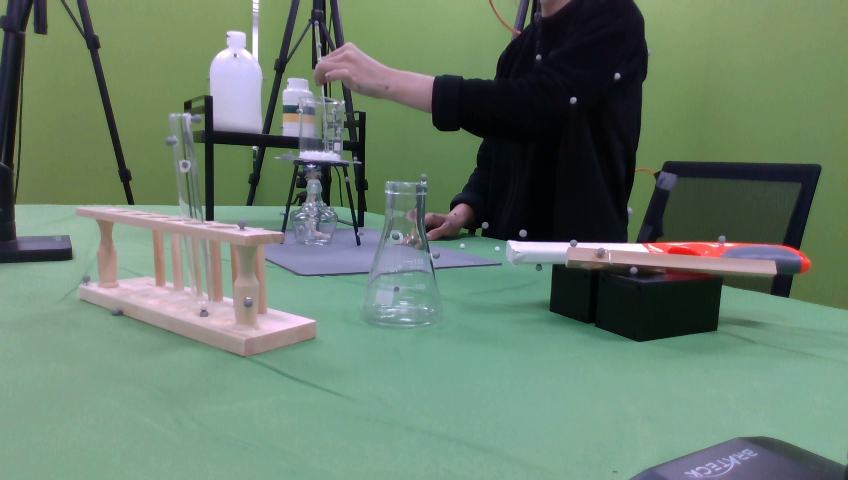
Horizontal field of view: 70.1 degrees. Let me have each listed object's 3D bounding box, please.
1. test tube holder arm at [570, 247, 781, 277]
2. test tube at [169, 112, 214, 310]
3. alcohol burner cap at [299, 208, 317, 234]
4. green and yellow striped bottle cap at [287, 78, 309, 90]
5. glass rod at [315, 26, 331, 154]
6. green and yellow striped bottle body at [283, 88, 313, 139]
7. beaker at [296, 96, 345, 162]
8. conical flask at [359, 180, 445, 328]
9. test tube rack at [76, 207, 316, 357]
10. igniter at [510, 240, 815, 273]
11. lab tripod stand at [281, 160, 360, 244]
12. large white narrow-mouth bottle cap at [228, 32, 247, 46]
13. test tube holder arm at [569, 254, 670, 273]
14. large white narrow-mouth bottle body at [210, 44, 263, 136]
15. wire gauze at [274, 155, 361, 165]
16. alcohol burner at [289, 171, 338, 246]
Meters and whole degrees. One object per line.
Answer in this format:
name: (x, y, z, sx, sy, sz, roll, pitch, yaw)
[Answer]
test tube holder arm: (0.217, 0.019, 0.524, 0.178, 0.015, 0.013, 3, -23, 3)
test tube: (-0.175, -0.020, 0.455, 0.017, 0.150, 0.017, -3, 9, 1)
alcohol burner cap: (-0.213, -0.035, 1.110, 0.034, 0.048, 0.034, 2, 7, 0)
green and yellow striped bottle cap: (-0.265, -0.326, 1.268, 0.045, 0.020, 0.045, 4, 6, 0)
glass rod: (-0.160, -0.237, 0.965, 0.008, 0.199, 0.008, -3, 14, 1)
green and yellow striped bottle body: (-0.265, -0.275, 1.275, 0.063, 0.119, 0.063, 3, 7, 0)
beaker: (-0.163, -0.175, 0.966, 0.083, 0.100, 0.074, 7, 8, 34)
conical flask: (-0.017, 0.010, 0.522, 0.075, 0.122, 0.075, 2, 7, 0)
test tube rack: (-0.196, 0.023, 0.500, 0.241, 0.085, 0.067, 8, 9, 36)
igniter: (0.220, 0.015, 0.566, 0.277, 0.025, 0.057, 2, 16, 0)
lab tripod stand: (-0.170, -0.063, 0.983, 0.148, 0.131, 0.148, 1, 6, 0)
large white narrow-mouth bottle cap: (-0.364, -0.390, 1.180, 0.038, 0.024, 0.037, 3, 8, 0)
test tube holder arm: (0.172, 0.019, 0.532, 0.088, 0.015, 0.010, 3, -23, 4)
large white narrow-mouth bottle body: (-0.369, -0.305, 1.194, 0.102, 0.194, 0.102, 3, 8, 0)
wire gauze: (-0.174, -0.129, 0.978, 0.125, 0.011, 0.121, -2, 6, -19)
alcohol burner: (-0.177, -0.051, 0.968, 0.078, 0.119, 0.078, 1, 6, 0)
